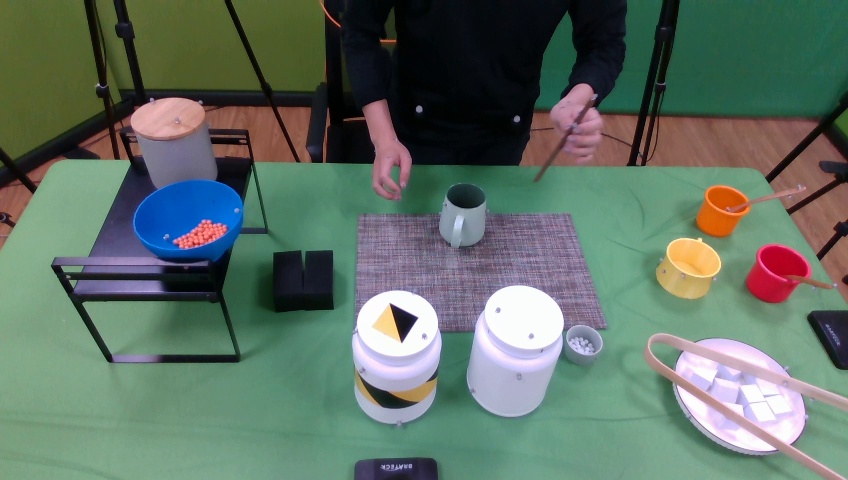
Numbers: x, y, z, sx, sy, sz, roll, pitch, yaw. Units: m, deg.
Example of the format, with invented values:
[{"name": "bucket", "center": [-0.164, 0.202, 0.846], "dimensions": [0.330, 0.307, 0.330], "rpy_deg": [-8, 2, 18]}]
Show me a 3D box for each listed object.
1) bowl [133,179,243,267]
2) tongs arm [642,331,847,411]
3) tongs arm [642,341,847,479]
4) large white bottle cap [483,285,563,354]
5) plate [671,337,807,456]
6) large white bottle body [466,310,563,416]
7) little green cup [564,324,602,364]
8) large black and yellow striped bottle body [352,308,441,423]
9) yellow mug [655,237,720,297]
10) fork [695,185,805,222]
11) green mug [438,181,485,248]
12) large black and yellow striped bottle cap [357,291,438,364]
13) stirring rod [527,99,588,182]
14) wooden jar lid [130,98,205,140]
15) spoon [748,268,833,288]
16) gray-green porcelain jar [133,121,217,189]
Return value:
[{"name": "bowl", "center": [-0.339, -0.013, 0.895], "dimensions": [0.151, 0.077, 0.150], "rpy_deg": [2, 46, -2]}, {"name": "tongs arm", "center": [0.546, 0.227, 0.968], "dimensions": [0.384, 0.026, 0.050], "rpy_deg": [22, 52, 13]}, {"name": "tongs arm", "center": [0.504, 0.278, 0.918], "dimensions": [0.386, 0.028, 0.028], "rpy_deg": [34, 59, 22]}, {"name": "large white bottle cap", "center": [0.142, 0.112, 0.871], "dimensions": [0.115, 0.018, 0.114], "rpy_deg": [3, 46, -2]}, {"name": "plate", "center": [0.504, 0.254, 0.984], "dimensions": [0.208, 0.039, 0.206], "rpy_deg": [2, 46, -2]}, {"name": "large white bottle body", "center": [0.138, 0.171, 0.932], "dimensions": [0.131, 0.185, 0.130], "rpy_deg": [2, 46, -2]}, {"name": "little green cup", "center": [0.269, 0.180, 1.035], "dimensions": [0.061, 0.039, 0.061], "rpy_deg": [2, 45, -2]}, {"name": "large black and yellow striped bottle body", "center": [-0.042, 0.177, 0.913], "dimensions": [0.131, 0.185, 0.130], "rpy_deg": [2, 46, -2]}, {"name": "yellow mug", "center": [0.509, 0.041, 1.167], "dimensions": [0.099, 0.064, 0.130], "rpy_deg": [24, 48, 18]}, {"name": "fork", "center": [0.657, -0.074, 1.230], "dimensions": [0.207, 0.019, 0.028], "rpy_deg": [-23, 34, 37]}, {"name": "green mug", "center": [0.071, -0.039, 1.178], "dimensions": [0.092, 0.105, 0.124], "rpy_deg": [12, 47, 7]}, {"name": "large black and yellow striped bottle cap", "center": [-0.037, 0.121, 0.851], "dimensions": [0.115, 0.019, 0.114], "rpy_deg": [1, 46, -1]}, {"name": "stirring rod", "center": [0.214, -0.157, 0.983], "dimensions": [0.014, 0.176, 0.006], "rpy_deg": [-21, 63, -40]}, {"name": "wooden jar lid", "center": [-0.393, -0.183, 0.934], "dimensions": [0.108, 0.021, 0.107], "rpy_deg": [2, 43, -2]}, {"name": "spoon", "center": [0.660, 0.068, 1.097], "dimensions": [0.041, 0.193, 0.021], "rpy_deg": [-4, 91, -6]}, {"name": "gray-green porcelain jar", "center": [-0.397, -0.141, 0.980], "dimensions": [0.106, 0.127, 0.105], "rpy_deg": [2, 47, -2]}]
